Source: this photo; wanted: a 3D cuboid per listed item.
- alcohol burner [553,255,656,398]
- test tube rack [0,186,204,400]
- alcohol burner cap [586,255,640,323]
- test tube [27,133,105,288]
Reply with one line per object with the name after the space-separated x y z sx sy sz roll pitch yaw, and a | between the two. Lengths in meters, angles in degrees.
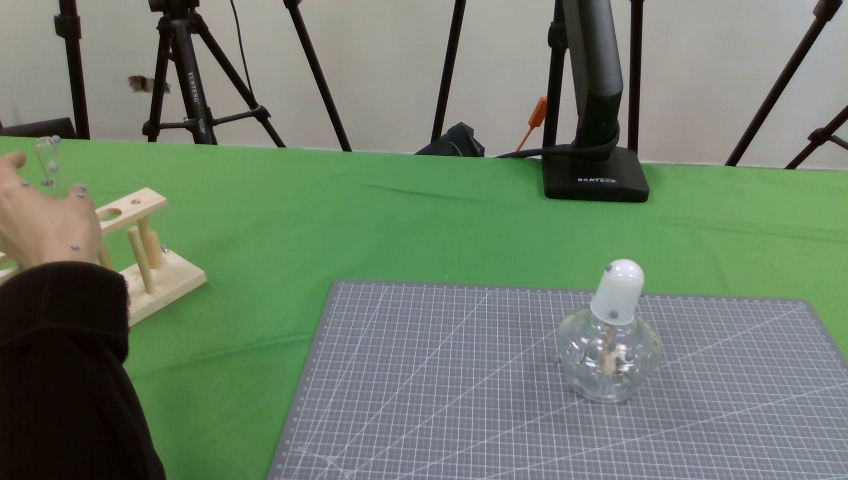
0.139 0.062 0.459 0.078 0.120 0.077 0 34 1 | alcohol burner
-0.317 0.049 0.512 0.066 0.086 0.242 25 43 30 | test tube rack
0.139 0.033 0.437 0.034 0.048 0.033 4 36 -2 | alcohol burner cap
-0.305 -0.020 0.521 0.017 0.151 0.017 -1 33 1 | test tube
